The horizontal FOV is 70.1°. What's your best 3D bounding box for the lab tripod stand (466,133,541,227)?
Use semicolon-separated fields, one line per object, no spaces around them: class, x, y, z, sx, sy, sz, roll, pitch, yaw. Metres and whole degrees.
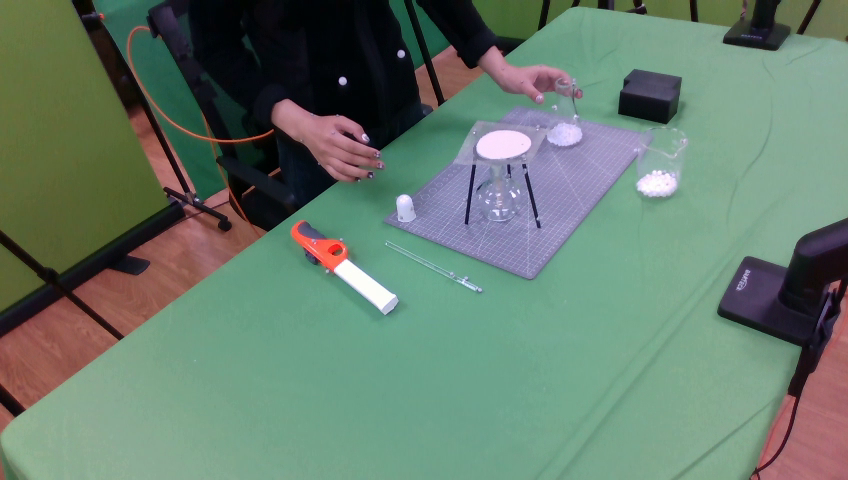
lab tripod stand;0.130;-0.099;0.985;0.148;0.132;0.147;-6;38;6

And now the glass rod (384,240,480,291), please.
glass rod;0.009;0.037;0.949;0.198;0.008;0.008;26;52;34

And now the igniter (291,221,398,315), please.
igniter;-0.136;0.037;0.962;0.057;0.025;0.274;-41;48;-18

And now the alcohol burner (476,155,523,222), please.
alcohol burner;0.123;-0.089;0.990;0.078;0.120;0.077;-7;41;6

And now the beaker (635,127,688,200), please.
beaker;0.388;-0.122;0.994;0.074;0.101;0.083;-8;40;2

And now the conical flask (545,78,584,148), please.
conical flask;0.264;-0.241;1.135;0.075;0.122;0.075;-6;40;5

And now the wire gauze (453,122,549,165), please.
wire gauze;0.122;-0.150;0.942;0.121;0.011;0.125;8;41;21

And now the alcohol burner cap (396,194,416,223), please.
alcohol burner cap;-0.032;-0.056;1.036;0.034;0.048;0.033;-6;40;6
